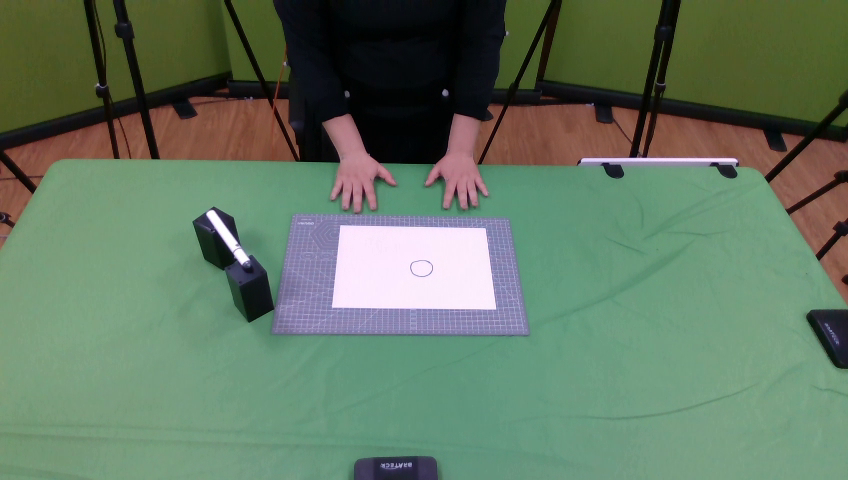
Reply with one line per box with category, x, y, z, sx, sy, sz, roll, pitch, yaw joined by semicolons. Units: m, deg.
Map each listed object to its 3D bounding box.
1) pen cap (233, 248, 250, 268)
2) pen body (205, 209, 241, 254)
pen cap;-0.303;0.031;1.008;0.017;0.017;0.038;-28;56;-28
pen body;-0.340;-0.006;1.042;0.017;0.017;0.143;-26;53;-27
